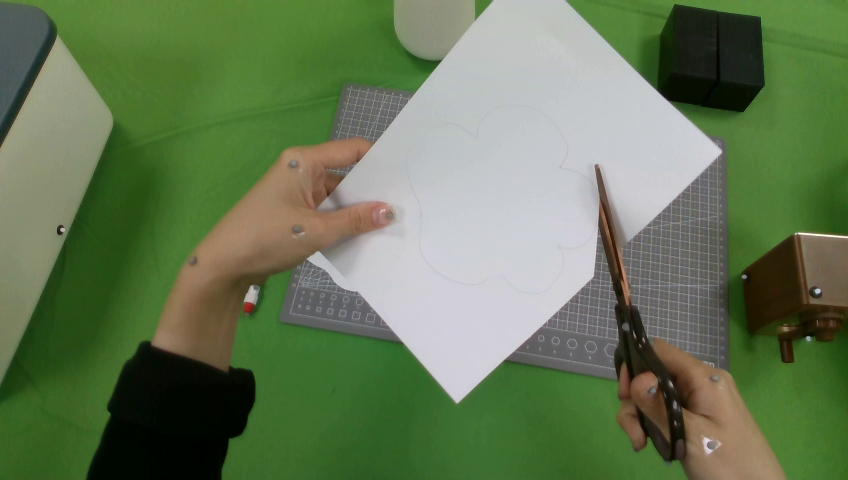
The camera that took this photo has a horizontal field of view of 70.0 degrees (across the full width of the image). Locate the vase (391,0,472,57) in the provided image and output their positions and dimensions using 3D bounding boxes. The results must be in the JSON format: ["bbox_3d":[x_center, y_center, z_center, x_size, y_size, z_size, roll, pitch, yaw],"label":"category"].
[{"bbox_3d":[0.007,-0.297,0.664,0.098,0.201,0.097,0,66,1],"label":"vase"}]

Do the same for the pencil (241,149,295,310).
[{"bbox_3d":[-0.164,-0.017,0.653,0.012,0.012,0.193,10,67,4],"label":"pencil"}]

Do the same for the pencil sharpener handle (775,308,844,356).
[{"bbox_3d":[0.347,0.085,0.547,0.036,0.068,0.030,10,68,-11],"label":"pencil sharpener handle"}]

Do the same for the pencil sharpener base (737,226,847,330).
[{"bbox_3d":[0.355,0.043,0.578,0.061,0.108,0.076,5,68,2],"label":"pencil sharpener base"}]

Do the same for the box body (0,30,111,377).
[{"bbox_3d":[-0.499,-0.042,0.577,0.254,0.161,0.361,9,68,4],"label":"box body"}]

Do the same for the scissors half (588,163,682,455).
[{"bbox_3d":[0.121,0.037,0.355,0.013,0.040,0.174,-12,79,-5],"label":"scissors half"}]

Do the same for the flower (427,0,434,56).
[{"bbox_3d":[0.002,-0.342,0.592,0.044,0.365,0.038,2,50,5],"label":"flower"}]

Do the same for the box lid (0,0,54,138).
[{"bbox_3d":[-0.499,-0.073,0.508,0.263,0.015,0.369,9,68,3],"label":"box lid"}]

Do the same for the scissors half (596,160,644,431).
[{"bbox_3d":[0.120,0.037,0.377,0.013,0.040,0.176,-12,104,0],"label":"scissors half"}]
